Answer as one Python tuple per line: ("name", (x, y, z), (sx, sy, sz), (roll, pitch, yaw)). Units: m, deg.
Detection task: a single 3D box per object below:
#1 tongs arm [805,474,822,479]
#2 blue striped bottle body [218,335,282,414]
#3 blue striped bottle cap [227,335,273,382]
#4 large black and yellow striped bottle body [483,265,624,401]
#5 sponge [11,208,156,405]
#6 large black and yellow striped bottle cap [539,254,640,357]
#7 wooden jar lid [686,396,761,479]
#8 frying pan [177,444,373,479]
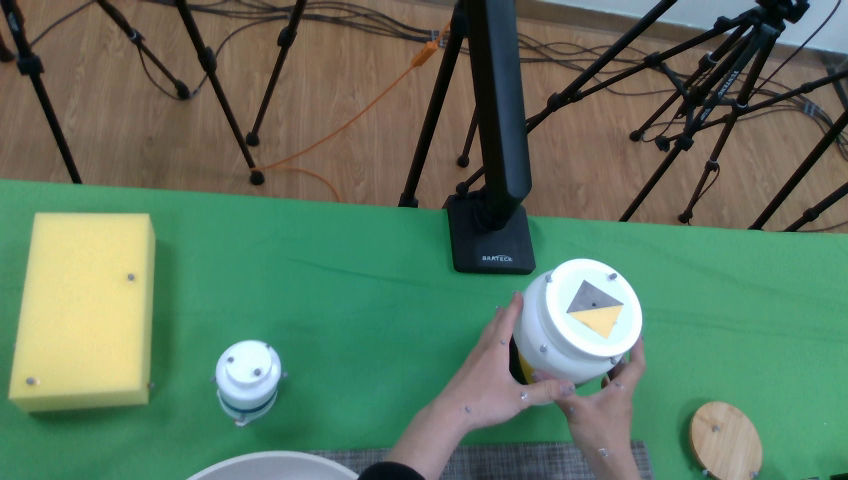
("tongs arm", (0.521, 0.472, 0.702), (0.051, 0.026, 0.382), (-1, 74, -18))
("blue striped bottle body", (-0.185, 0.142, 0.645), (0.063, 0.121, 0.062), (7, 61, -13))
("blue striped bottle cap", (-0.173, 0.117, 0.601), (0.045, 0.021, 0.044), (7, 63, -13))
("large black and yellow striped bottle body", (0.159, 0.109, 0.731), (0.131, 0.185, 0.129), (7, 60, -12))
("sponge", (-0.364, 0.068, 0.663), (0.119, 0.061, 0.205), (-1, 64, -18))
("large black and yellow striped bottle cap", (0.182, 0.069, 0.660), (0.115, 0.019, 0.114), (7, 63, -13))
("wooden jar lid", (0.401, 0.266, 0.817), (0.109, 0.021, 0.107), (7, 63, -13))
("frying pan", (-0.135, 0.431, 0.513), (0.308, 0.103, 0.483), (2, 54, -14))
